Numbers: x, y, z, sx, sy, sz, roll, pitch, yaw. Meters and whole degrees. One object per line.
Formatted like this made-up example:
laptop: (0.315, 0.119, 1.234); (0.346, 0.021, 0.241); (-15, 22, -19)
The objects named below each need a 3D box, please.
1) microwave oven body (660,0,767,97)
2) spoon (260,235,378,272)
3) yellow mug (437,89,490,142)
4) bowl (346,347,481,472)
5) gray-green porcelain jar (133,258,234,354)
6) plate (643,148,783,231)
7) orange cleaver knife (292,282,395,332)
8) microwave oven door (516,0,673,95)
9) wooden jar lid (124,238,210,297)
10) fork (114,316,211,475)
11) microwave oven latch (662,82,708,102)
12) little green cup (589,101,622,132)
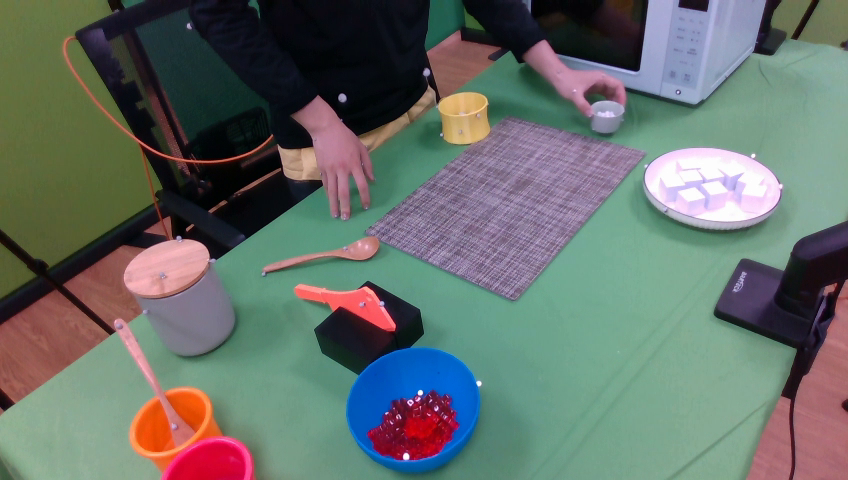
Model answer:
microwave oven body: (0.473, -0.516, 1.314); (0.438, 0.261, 0.327); (26, 51, 34)
spoon: (-0.167, 0.024, 0.966); (0.194, 0.022, 0.041); (-10, 58, -3)
yellow mug: (0.070, -0.257, 1.224); (0.100, 0.064, 0.129); (-33, 44, -25)
bowl: (-0.008, 0.205, 0.691); (0.151, 0.077, 0.150); (-4, 40, 4)
gray-green porcelain jar: (-0.328, 0.087, 0.836); (0.106, 0.127, 0.105); (-4, 41, 4)
plate: (0.464, -0.080, 0.986); (0.207, 0.039, 0.206); (-4, 41, 4)
orange cleaver knife: (-0.116, 0.091, 0.835); (0.209, 0.077, 0.012); (2, 32, 48)
microwave oven door: (0.344, -0.458, 1.256); (0.353, 0.245, 0.039); (26, 51, 33)
wooden jar lid: (-0.335, 0.039, 0.794); (0.108, 0.021, 0.108); (-2, 40, 2)
fork: (-0.309, 0.179, 0.708); (0.028, 0.018, 0.207); (-29, 89, -25)
microwave oven latch: (0.517, -0.298, 1.202); (0.078, 0.029, 0.030); (27, 52, 34)
little green cup: (0.347, -0.237, 1.160); (0.061, 0.039, 0.061); (-5, 39, 5)
